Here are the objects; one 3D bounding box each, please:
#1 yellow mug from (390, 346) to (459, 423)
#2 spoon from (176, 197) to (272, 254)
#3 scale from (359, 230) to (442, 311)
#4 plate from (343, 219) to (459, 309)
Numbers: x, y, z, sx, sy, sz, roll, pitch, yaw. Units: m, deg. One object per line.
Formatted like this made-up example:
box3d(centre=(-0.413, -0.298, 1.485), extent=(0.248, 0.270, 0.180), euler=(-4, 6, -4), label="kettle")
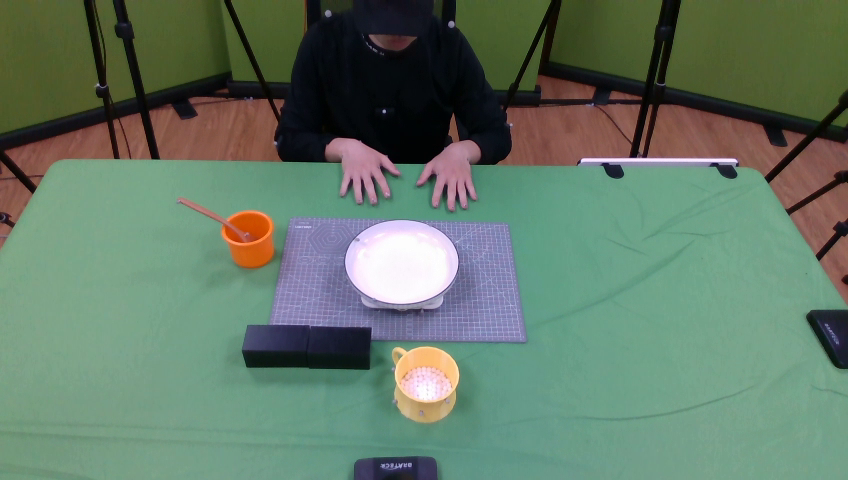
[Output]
box3d(centre=(-0.009, 0.217, 0.958), extent=(0.100, 0.064, 0.130), euler=(-33, 56, -31), label="yellow mug")
box3d(centre=(-0.363, -0.028, 1.108), extent=(0.021, 0.195, 0.041), euler=(-35, 36, 24), label="spoon")
box3d(centre=(-0.042, 0.047, 1.138), extent=(0.149, 0.032, 0.199), euler=(2, 46, -3), label="scale")
box3d(centre=(-0.041, 0.046, 1.094), extent=(0.209, 0.038, 0.208), euler=(2, 46, -2), label="plate")
